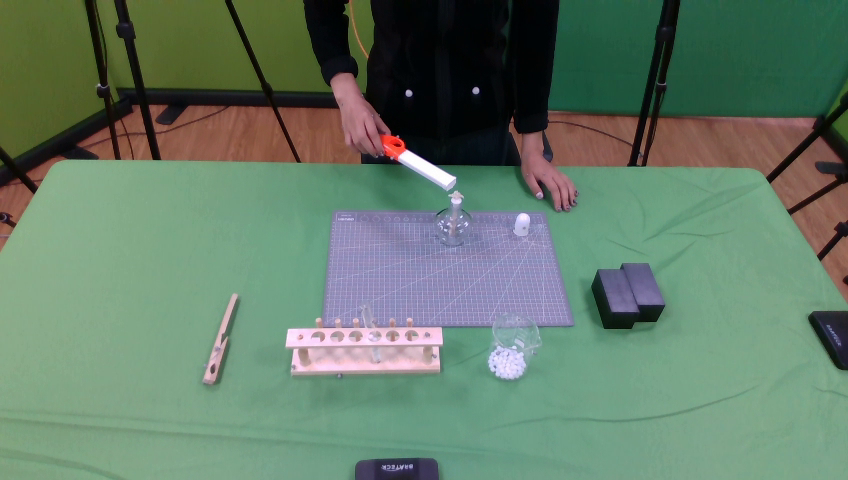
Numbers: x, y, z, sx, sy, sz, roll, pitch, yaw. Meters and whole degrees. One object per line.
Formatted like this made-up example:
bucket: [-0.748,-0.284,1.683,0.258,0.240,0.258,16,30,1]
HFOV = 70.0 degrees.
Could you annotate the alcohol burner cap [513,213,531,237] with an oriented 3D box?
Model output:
alcohol burner cap: [0.200,-0.034,1.227,0.034,0.048,0.033,2,46,-2]

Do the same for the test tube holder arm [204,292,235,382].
test tube holder arm: [-0.343,0.159,1.020,0.013,0.015,0.177,27,39,-27]

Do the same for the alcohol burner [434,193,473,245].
alcohol burner: [0.059,-0.047,1.180,0.078,0.120,0.077,1,48,-1]

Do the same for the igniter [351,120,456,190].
igniter: [-0.049,-0.175,1.212,0.275,0.025,0.057,34,57,27]

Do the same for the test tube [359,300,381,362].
test tube: [-0.083,0.144,0.940,0.017,0.151,0.017,-3,46,3]

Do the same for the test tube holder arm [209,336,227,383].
test tube holder arm: [-0.338,0.193,0.991,0.010,0.015,0.087,29,38,-26]

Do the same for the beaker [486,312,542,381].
beaker: [0.144,0.177,0.985,0.084,0.101,0.074,22,49,16]

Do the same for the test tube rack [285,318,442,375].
test tube rack: [-0.095,0.168,0.986,0.242,0.085,0.066,0,46,-4]
